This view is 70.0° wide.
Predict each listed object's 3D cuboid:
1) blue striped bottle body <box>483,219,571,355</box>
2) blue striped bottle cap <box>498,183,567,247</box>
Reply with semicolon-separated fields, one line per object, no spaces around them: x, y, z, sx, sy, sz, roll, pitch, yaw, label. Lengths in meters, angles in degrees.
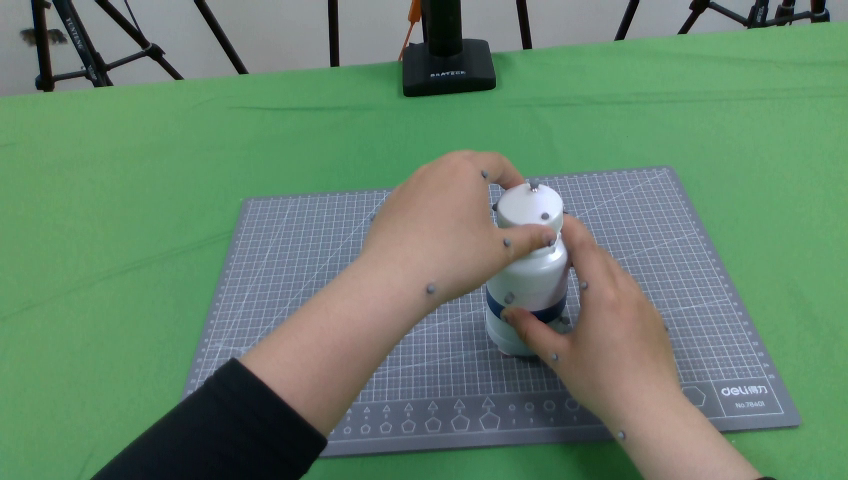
0.076;0.026;0.452;0.063;0.122;0.062;-3;44;4;blue striped bottle body
0.072;-0.017;0.405;0.044;0.021;0.044;-10;44;10;blue striped bottle cap
